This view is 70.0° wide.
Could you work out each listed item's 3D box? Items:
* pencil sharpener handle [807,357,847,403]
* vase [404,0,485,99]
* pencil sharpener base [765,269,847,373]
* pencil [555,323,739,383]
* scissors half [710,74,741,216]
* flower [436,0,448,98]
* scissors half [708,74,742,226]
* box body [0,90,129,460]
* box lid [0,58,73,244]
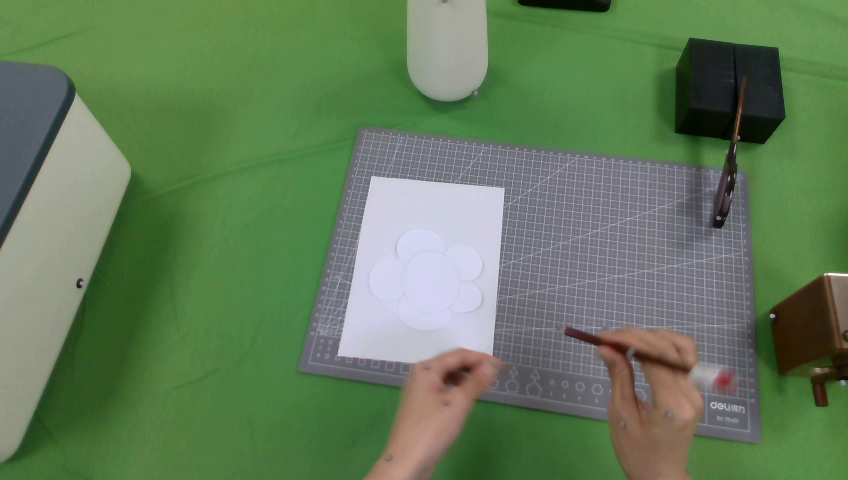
[{"bbox_3d":[0.365,0.123,0.528,0.036,0.068,0.030,9,66,-9],"label":"pencil sharpener handle"},{"bbox_3d":[0.021,-0.247,0.665,0.098,0.201,0.097,-1,65,3],"label":"vase"},{"bbox_3d":[0.373,0.082,0.560,0.061,0.108,0.076,3,66,3],"label":"pencil sharpener base"},{"bbox_3d":[0.144,0.075,0.432,0.012,0.193,0.012,-1,91,-19],"label":"pencil"},{"bbox_3d":[0.323,-0.105,0.639,0.013,0.040,0.174,13,67,17],"label":"scissors half"},{"bbox_3d":[0.013,-0.294,0.595,0.044,0.365,0.038,1,48,6],"label":"flower"},{"bbox_3d":[0.329,-0.099,0.657,0.012,0.040,0.175,12,85,22],"label":"scissors half"},{"bbox_3d":[-0.482,0.016,0.583,0.254,0.161,0.361,8,66,5],"label":"box body"},{"bbox_3d":[-0.485,-0.018,0.515,0.263,0.015,0.369,8,66,5],"label":"box lid"}]
